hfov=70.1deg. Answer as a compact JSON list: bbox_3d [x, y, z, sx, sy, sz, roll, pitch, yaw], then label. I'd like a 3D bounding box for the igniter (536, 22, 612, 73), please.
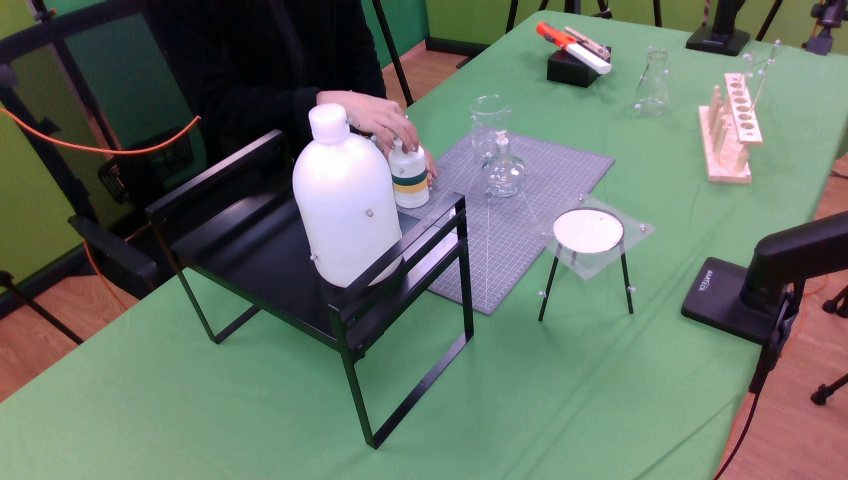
[{"bbox_3d":[0.330,-0.439,1.366,0.057,0.025,0.274,-12,41,-20],"label":"igniter"}]

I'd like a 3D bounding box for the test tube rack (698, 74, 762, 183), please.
[{"bbox_3d":[0.547,-0.208,1.095,0.066,0.085,0.242,5,42,15],"label":"test tube rack"}]

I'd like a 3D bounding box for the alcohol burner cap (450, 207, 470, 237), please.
[{"bbox_3d":[0.057,-0.032,0.987,0.034,0.048,0.033,-4,41,4],"label":"alcohol burner cap"}]

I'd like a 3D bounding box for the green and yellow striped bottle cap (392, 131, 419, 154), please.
[{"bbox_3d":[-0.031,-0.163,1.007,0.045,0.020,0.045,-3,41,3],"label":"green and yellow striped bottle cap"}]

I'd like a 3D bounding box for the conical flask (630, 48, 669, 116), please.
[{"bbox_3d":[0.456,-0.317,1.205,0.075,0.122,0.075,-4,41,4],"label":"conical flask"}]

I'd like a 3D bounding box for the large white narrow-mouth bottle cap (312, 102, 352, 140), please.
[{"bbox_3d":[-0.089,-0.114,0.579,0.038,0.024,0.037,-3,39,3],"label":"large white narrow-mouth bottle cap"}]

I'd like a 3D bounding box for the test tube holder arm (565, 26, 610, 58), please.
[{"bbox_3d":[0.369,-0.450,1.373,0.013,0.015,0.177,-39,41,10],"label":"test tube holder arm"}]

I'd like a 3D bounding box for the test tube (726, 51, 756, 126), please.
[{"bbox_3d":[0.568,-0.268,1.086,0.017,0.151,0.017,-4,46,4],"label":"test tube"}]

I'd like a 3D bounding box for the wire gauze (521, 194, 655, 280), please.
[{"bbox_3d":[0.207,-0.012,0.772,0.122,0.011,0.124,-28,44,-20],"label":"wire gauze"}]

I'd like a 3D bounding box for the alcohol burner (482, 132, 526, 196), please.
[{"bbox_3d":[0.137,-0.136,1.042,0.078,0.119,0.077,-4,43,4],"label":"alcohol burner"}]

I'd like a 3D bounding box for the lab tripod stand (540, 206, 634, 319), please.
[{"bbox_3d":[0.218,0.034,0.821,0.148,0.132,0.147,-4,42,4],"label":"lab tripod stand"}]

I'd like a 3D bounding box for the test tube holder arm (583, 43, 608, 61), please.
[{"bbox_3d":[0.379,-0.420,1.341,0.010,0.015,0.087,-39,41,10],"label":"test tube holder arm"}]

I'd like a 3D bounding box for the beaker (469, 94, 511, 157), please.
[{"bbox_3d":[0.124,-0.216,1.148,0.074,0.101,0.083,-21,42,-16],"label":"beaker"}]

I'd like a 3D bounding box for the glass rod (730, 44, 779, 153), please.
[{"bbox_3d":[0.555,-0.234,1.020,0.008,0.200,0.008,2,40,-1],"label":"glass rod"}]

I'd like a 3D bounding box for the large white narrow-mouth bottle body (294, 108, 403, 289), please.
[{"bbox_3d":[-0.082,-0.047,0.634,0.102,0.195,0.101,-4,39,4],"label":"large white narrow-mouth bottle body"}]

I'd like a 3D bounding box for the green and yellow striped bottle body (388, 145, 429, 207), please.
[{"bbox_3d":[-0.027,-0.121,1.042,0.063,0.120,0.063,-4,40,4],"label":"green and yellow striped bottle body"}]
